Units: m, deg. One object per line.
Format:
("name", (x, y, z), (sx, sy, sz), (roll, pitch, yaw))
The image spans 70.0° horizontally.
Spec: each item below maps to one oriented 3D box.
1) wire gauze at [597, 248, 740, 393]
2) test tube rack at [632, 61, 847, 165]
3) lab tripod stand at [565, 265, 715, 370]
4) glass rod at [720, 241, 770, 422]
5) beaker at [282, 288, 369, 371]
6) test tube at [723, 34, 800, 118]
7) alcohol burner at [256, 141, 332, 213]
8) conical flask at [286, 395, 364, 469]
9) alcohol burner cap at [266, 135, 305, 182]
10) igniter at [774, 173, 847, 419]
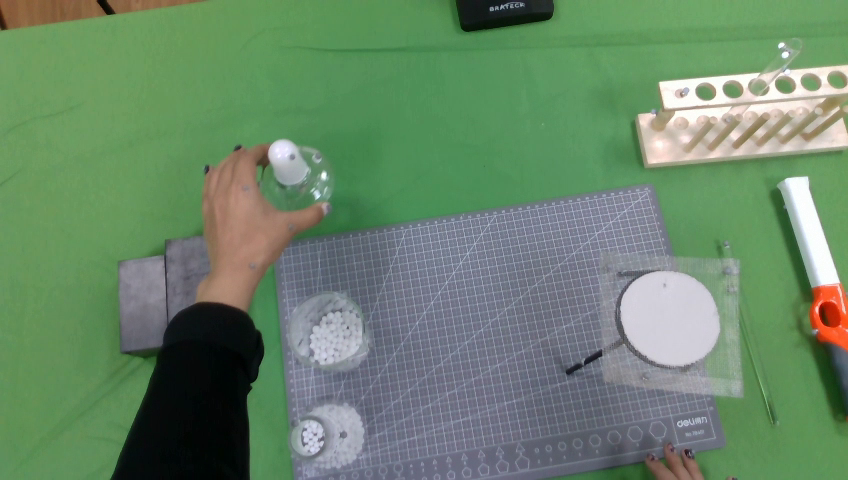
("wire gauze", (0.217, 0.069, 0.537), (0.125, 0.011, 0.121), (5, 76, 3))
("test tube rack", (0.376, -0.144, 0.693), (0.242, 0.085, 0.066), (-5, 74, -1))
("lab tripod stand", (0.214, 0.086, 0.602), (0.148, 0.132, 0.147), (0, 76, 1))
("glass rod", (0.353, 0.097, 0.666), (0.008, 0.008, 0.198), (-8, 77, -2))
("beaker", (-0.093, 0.097, 0.621), (0.084, 0.101, 0.074), (26, 76, 7))
("test tube", (0.356, -0.170, 0.649), (0.017, 0.151, 0.017), (-1, 74, 4))
("alcohol burner", (-0.135, -0.069, 0.612), (0.078, 0.119, 0.077), (0, 77, 0))
("conical flask", (-0.101, 0.186, 0.584), (0.075, 0.122, 0.075), (0, 74, 1))
("alcohol burner cap", (-0.133, -0.081, 0.578), (0.034, 0.048, 0.033), (1, 68, -2))
("igniter", (0.441, 0.057, 0.666), (0.057, 0.025, 0.275), (-5, 74, -10))
